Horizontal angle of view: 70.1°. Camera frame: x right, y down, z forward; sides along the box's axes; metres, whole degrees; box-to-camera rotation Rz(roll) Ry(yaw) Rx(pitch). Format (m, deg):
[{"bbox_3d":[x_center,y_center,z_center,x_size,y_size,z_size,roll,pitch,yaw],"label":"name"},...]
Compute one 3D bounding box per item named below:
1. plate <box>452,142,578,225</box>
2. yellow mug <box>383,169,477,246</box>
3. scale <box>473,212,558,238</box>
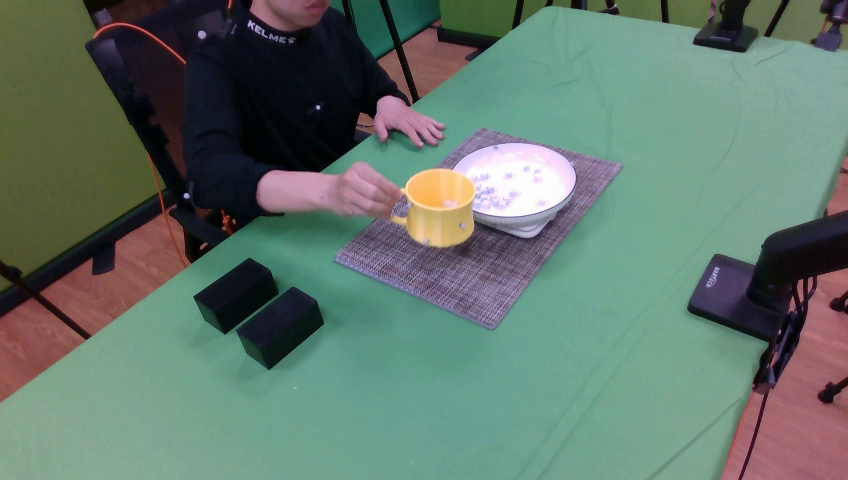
[{"bbox_3d":[0.145,-0.089,0.989,0.209,0.038,0.208,-4,41,4],"label":"plate"},{"bbox_3d":[0.007,-0.047,0.848,0.131,0.064,0.099,0,39,0],"label":"yellow mug"},{"bbox_3d":[0.132,-0.075,1.025,0.199,0.032,0.149,22,48,30],"label":"scale"}]
